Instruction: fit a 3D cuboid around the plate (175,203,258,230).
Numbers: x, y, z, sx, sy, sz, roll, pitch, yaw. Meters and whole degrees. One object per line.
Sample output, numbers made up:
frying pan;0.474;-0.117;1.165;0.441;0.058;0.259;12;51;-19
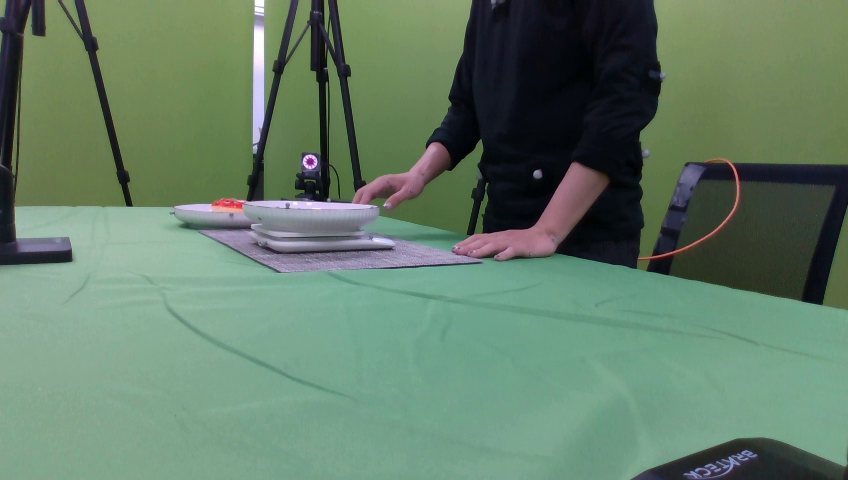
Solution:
plate;-0.380;-0.047;1.199;0.208;0.039;0.207;3;7;0

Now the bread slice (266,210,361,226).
bread slice;-0.174;-0.035;0.934;0.132;0.019;0.104;-1;7;-28

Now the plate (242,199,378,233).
plate;-0.176;-0.038;0.939;0.209;0.038;0.209;3;7;0

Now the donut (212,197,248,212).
donut;-0.376;-0.061;1.220;0.099;0.048;0.099;5;4;0

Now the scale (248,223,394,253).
scale;-0.162;-0.006;0.954;0.202;0.031;0.148;-2;9;-32
